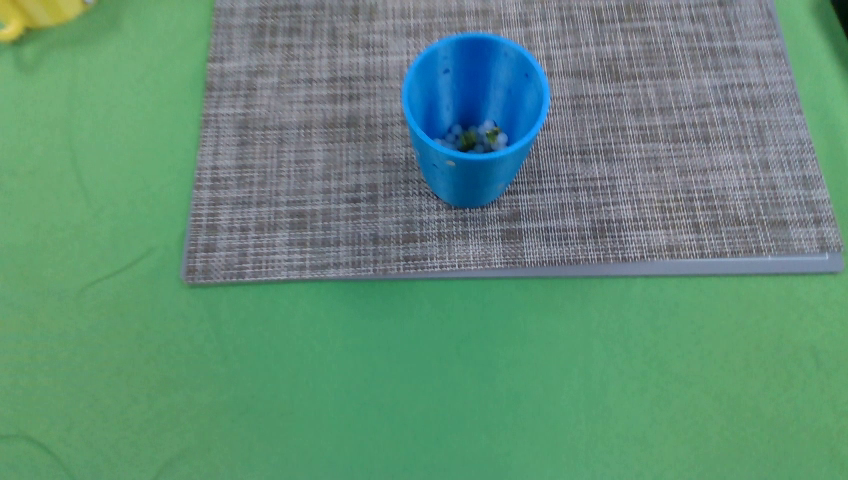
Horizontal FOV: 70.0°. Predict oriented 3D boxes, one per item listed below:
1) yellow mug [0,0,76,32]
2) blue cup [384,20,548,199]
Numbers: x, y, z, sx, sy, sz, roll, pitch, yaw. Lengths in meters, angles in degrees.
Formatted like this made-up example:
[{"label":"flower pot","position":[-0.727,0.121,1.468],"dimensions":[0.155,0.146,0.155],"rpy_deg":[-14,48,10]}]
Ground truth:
[{"label":"yellow mug","position":[-0.321,-0.220,0.463],"dimensions":[0.100,0.064,0.130],"rpy_deg":[9,71,3]},{"label":"blue cup","position":[0.028,-0.072,0.388],"dimensions":[0.092,0.101,0.092],"rpy_deg":[0,71,1]}]
